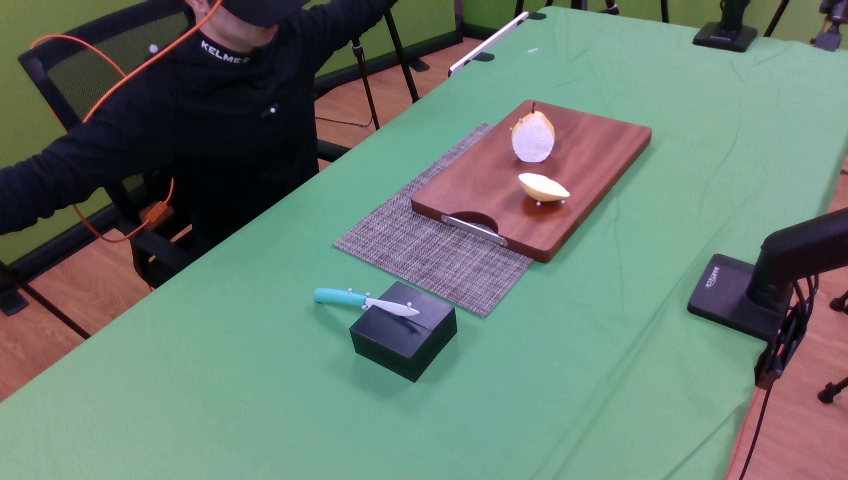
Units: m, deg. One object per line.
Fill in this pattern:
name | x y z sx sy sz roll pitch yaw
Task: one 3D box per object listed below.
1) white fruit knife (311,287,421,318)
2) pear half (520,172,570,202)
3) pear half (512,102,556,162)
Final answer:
white fruit knife | -0.084 0.086 0.831 0.206 0.027 0.016 5 30 37
pear half | 0.193 -0.080 0.981 0.087 0.031 0.071 35 38 22
pear half | 0.193 -0.197 1.060 0.076 0.110 0.056 3 41 6
